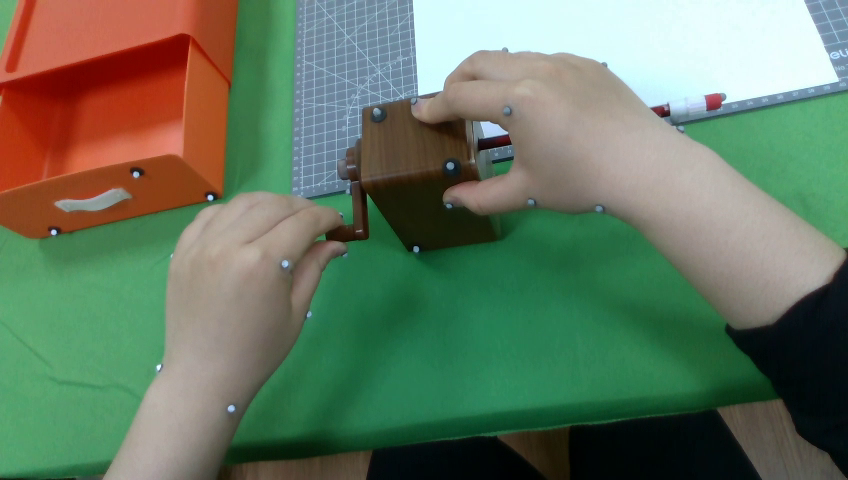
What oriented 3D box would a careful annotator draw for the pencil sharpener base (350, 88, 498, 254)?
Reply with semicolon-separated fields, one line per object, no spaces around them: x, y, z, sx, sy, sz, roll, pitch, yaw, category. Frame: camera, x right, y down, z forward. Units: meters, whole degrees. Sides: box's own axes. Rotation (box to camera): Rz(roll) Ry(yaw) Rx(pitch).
0.003;-0.040;0.407;0.076;0.108;0.061;-9;63;12;pencil sharpener base

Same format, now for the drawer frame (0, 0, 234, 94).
-0.289;-0.221;0.586;0.201;0.083;0.211;-12;63;11;drawer frame

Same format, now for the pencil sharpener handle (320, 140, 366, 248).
-0.052;-0.029;0.389;0.030;0.036;0.067;-9;74;12;pencil sharpener handle

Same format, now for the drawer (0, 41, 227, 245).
-0.277;-0.115;0.537;0.194;0.074;0.210;-12;63;11;drawer

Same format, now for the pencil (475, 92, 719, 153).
0.075;-0.064;0.364;0.194;0.012;0.012;-10;64;11;pencil
